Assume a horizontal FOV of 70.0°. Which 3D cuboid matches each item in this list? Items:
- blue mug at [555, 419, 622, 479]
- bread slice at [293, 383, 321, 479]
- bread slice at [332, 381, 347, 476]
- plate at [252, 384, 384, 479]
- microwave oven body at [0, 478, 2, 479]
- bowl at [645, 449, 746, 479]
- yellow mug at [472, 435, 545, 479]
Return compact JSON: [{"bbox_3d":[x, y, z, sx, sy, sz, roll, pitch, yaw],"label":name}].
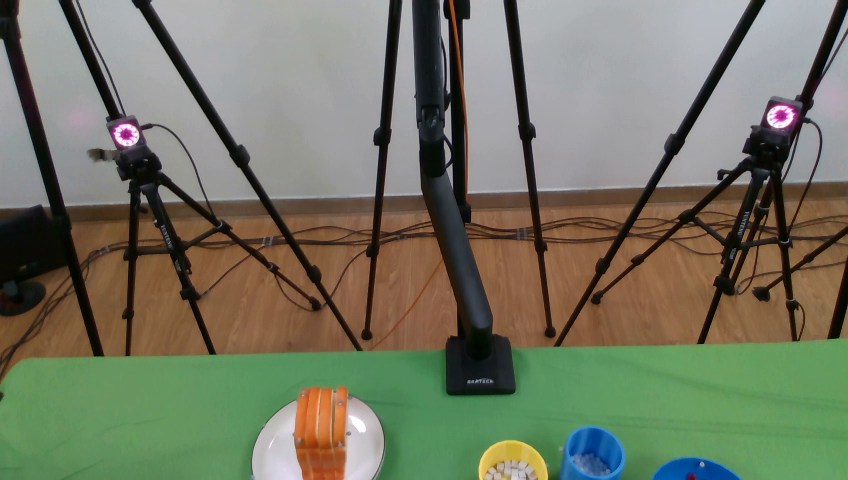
[{"bbox_3d":[0.233,0.336,0.874,0.082,0.107,0.116,12,45,17],"label":"blue mug"},{"bbox_3d":[-0.178,0.283,0.924,0.018,0.135,0.106,-2,39,-1],"label":"bread slice"},{"bbox_3d":[-0.128,0.282,0.924,0.019,0.132,0.104,1,44,-6],"label":"bread slice"},{"bbox_3d":[-0.165,0.326,0.959,0.207,0.039,0.205,-1,43,2],"label":"plate"},{"bbox_3d":[-0.641,0.504,0.622,0.326,0.262,0.437,-1,43,2],"label":"microwave oven body"},{"bbox_3d":[0.375,0.379,0.839,0.151,0.077,0.150,-2,43,2],"label":"bowl"},{"bbox_3d":[0.113,0.353,0.892,0.131,0.064,0.099,-17,44,-13],"label":"yellow mug"}]
